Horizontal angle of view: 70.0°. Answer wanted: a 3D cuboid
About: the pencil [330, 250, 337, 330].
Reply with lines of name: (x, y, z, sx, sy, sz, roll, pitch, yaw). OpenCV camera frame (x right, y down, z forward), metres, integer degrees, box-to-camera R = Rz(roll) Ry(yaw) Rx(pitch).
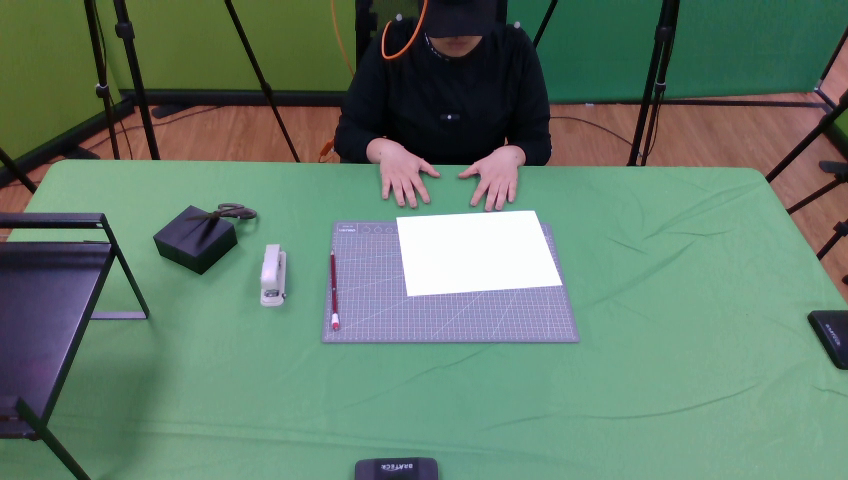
pencil: (-0.167, 0.085, 1.106, 0.012, 0.012, 0.192, -3, 45, -7)

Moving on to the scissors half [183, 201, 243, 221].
scissors half: (-0.405, -0.054, 1.163, 0.040, 0.013, 0.175, 30, 18, 7)

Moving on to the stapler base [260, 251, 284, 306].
stapler base: (-0.280, 0.064, 1.113, 0.041, 0.024, 0.129, -2, 44, -9)

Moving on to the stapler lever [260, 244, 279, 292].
stapler lever: (-0.279, 0.045, 1.096, 0.027, 0.040, 0.117, -2, 44, -9)

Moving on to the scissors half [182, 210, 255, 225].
scissors half: (-0.390, -0.042, 1.158, 0.040, 0.013, 0.175, 41, 21, 22)
